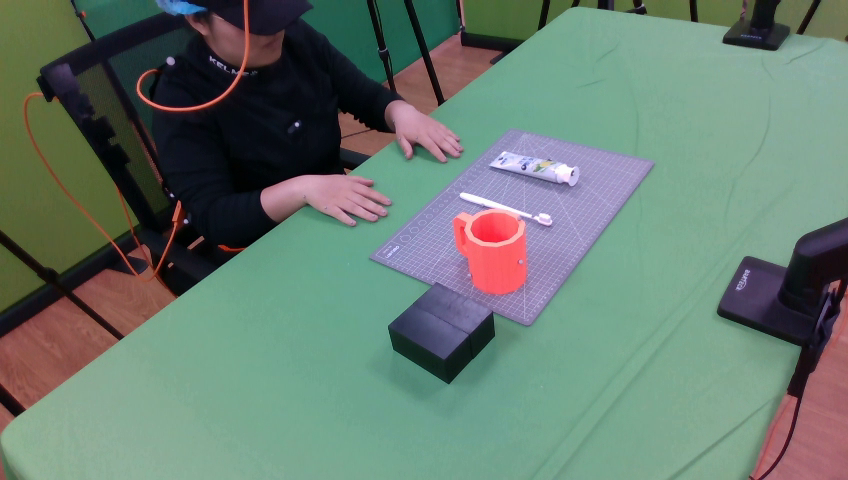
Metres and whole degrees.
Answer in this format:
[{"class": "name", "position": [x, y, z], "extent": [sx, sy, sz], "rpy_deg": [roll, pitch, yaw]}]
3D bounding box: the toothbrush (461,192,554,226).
[{"class": "toothbrush", "position": [0.137, -0.056, 1.026], "extent": [0.180, 0.017, 0.014], "rpy_deg": [20, 62, 32]}]

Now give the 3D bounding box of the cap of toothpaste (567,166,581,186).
[{"class": "cap of toothpaste", "position": [0.260, -0.112, 1.052], "extent": [0.011, 0.037, 0.037], "rpy_deg": [22, 50, 37]}]

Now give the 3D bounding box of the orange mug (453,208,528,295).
[{"class": "orange mug", "position": [0.094, 0.009, 0.894], "extent": [0.125, 0.101, 0.084], "rpy_deg": [32, 55, 33]}]

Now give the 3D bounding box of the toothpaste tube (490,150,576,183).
[{"class": "toothpaste tube", "position": [0.202, -0.135, 1.098], "extent": [0.164, 0.034, 0.055], "rpy_deg": [21, 45, 34]}]
